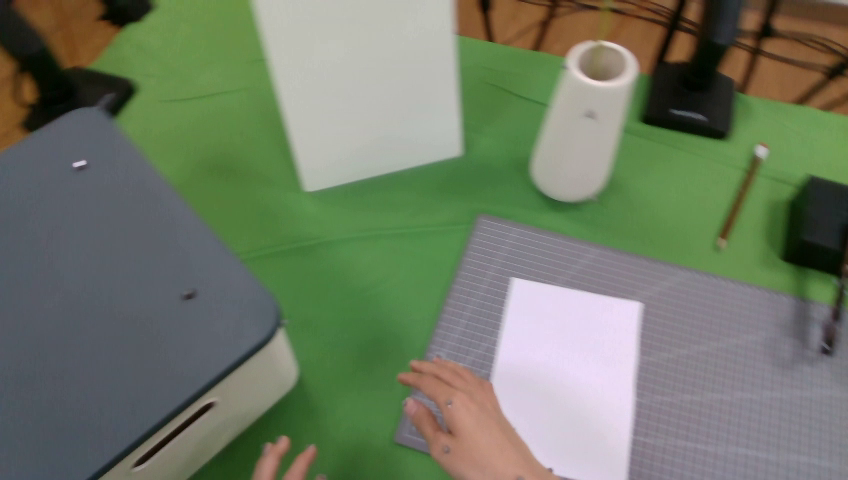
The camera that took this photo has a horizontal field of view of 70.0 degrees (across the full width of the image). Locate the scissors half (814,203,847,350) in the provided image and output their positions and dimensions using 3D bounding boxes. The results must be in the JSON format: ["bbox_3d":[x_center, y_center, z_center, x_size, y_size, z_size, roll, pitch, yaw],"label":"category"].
[{"bbox_3d":[0.454,0.039,0.673,0.012,0.040,0.174,11,77,35],"label":"scissors half"}]

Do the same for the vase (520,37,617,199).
[{"bbox_3d":[0.168,-0.138,0.713,0.098,0.202,0.097,-1,57,2],"label":"vase"}]

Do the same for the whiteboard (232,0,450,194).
[{"bbox_3d":[-0.103,-0.245,0.756,0.217,0.308,0.142,-15,40,-8],"label":"whiteboard"}]

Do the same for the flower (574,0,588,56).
[{"bbox_3d":[0.164,-0.194,0.650,0.044,0.365,0.038,9,42,10],"label":"flower"}]

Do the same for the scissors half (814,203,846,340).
[{"bbox_3d":[0.445,0.029,0.656,0.012,0.040,0.174,13,60,30],"label":"scissors half"}]

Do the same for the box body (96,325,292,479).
[{"bbox_3d":[-0.338,0.078,0.611,0.361,0.162,0.254,40,67,22],"label":"box body"}]

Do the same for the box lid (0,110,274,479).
[{"bbox_3d":[-0.341,0.038,0.548,0.368,0.015,0.263,40,67,22],"label":"box lid"}]

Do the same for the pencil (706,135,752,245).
[{"bbox_3d":[0.391,-0.067,0.777,0.012,0.012,0.193,26,64,16],"label":"pencil"}]
